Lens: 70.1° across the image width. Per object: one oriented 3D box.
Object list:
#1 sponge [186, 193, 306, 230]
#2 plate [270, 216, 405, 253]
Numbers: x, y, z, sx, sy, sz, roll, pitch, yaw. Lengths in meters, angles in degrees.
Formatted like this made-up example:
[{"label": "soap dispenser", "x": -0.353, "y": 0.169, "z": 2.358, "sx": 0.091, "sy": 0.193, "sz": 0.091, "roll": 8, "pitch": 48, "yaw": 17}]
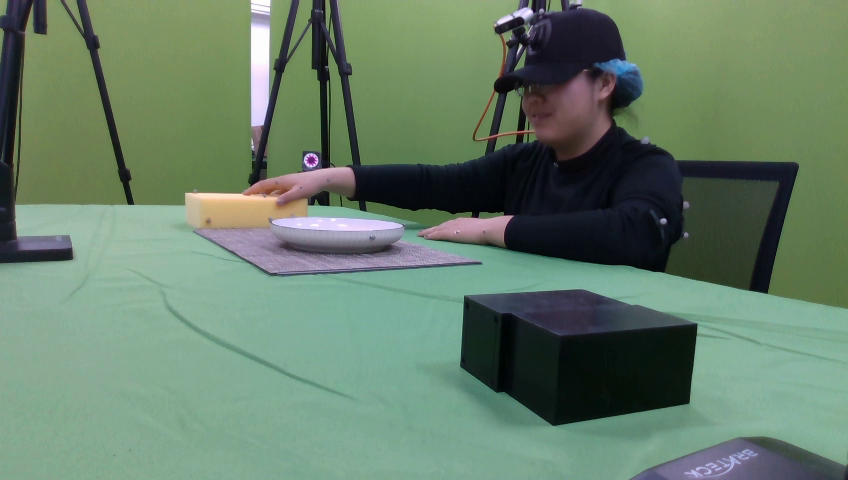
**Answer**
[{"label": "sponge", "x": -0.350, "y": -0.059, "z": 1.194, "sx": 0.208, "sy": 0.061, "sz": 0.117, "roll": -3, "pitch": 9, "yaw": -34}, {"label": "plate", "x": -0.134, "y": -0.009, "z": 0.946, "sx": 0.208, "sy": 0.039, "sz": 0.207, "roll": 2, "pitch": 7, "yaw": 0}]
